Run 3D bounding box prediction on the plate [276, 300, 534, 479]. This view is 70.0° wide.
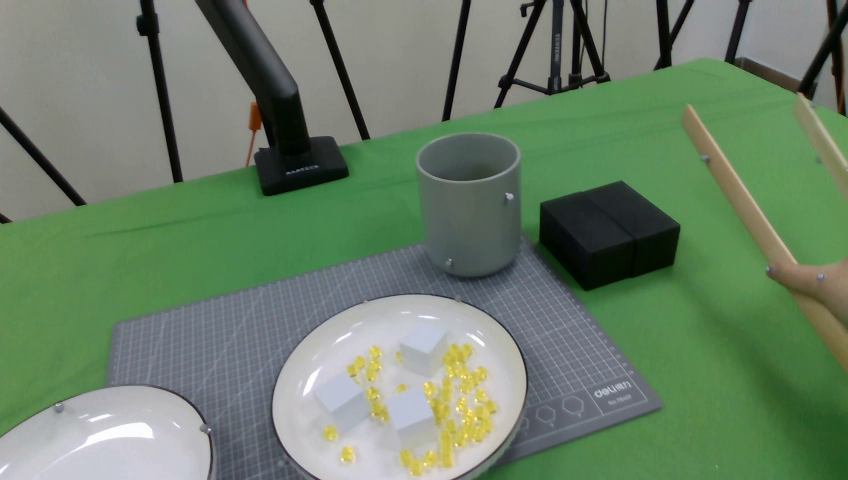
[{"bbox_3d":[-0.015,0.131,0.500,0.207,0.039,0.205,-4,36,3],"label":"plate"}]

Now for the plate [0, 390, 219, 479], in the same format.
[{"bbox_3d":[-0.250,0.202,0.440,0.209,0.038,0.207,-5,36,4],"label":"plate"}]

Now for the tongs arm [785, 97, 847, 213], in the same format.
[{"bbox_3d":[0.374,0.008,0.517,0.051,0.027,0.380,-3,51,-2],"label":"tongs arm"}]

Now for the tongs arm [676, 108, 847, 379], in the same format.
[{"bbox_3d":[0.308,0.015,0.514,0.028,0.028,0.383,-7,51,-10],"label":"tongs arm"}]

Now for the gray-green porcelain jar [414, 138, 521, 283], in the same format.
[{"bbox_3d":[0.048,-0.027,0.631,0.106,0.127,0.105,-4,36,4],"label":"gray-green porcelain jar"}]
